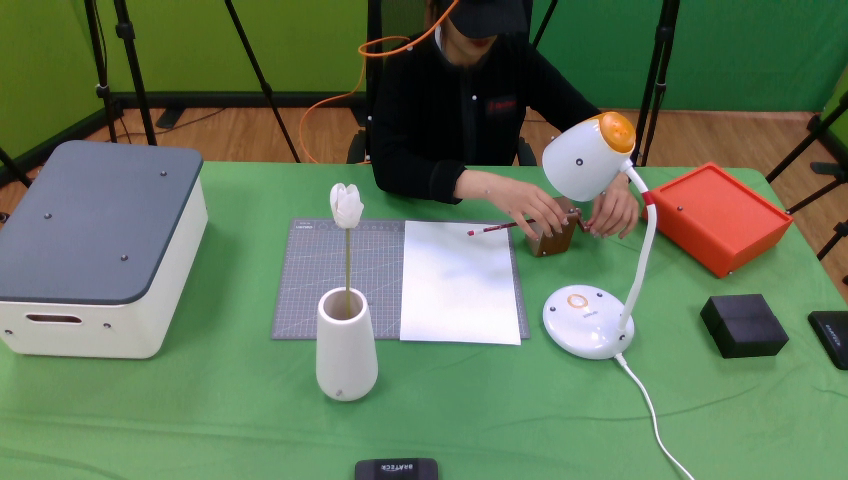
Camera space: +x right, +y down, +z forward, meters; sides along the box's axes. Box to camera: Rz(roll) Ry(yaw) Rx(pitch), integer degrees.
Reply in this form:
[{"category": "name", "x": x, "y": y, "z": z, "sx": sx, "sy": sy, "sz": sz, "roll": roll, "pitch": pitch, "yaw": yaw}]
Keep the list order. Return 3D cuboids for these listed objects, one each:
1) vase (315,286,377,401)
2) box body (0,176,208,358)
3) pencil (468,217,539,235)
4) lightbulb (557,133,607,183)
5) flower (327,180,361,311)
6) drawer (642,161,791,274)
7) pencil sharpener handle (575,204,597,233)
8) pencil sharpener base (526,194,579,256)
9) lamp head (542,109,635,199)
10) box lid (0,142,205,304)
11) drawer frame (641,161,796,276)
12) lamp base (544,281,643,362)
[{"category": "vase", "x": -0.119, "y": 0.159, "z": 0.911, "sx": 0.098, "sy": 0.201, "sz": 0.097, "roll": 2, "pitch": 47, "yaw": -2}, {"category": "box body", "x": -0.546, "y": 0.017, "z": 1.045, "sx": 0.254, "sy": 0.161, "sz": 0.361, "roll": 2, "pitch": 46, "yaw": -2}, {"category": "pencil", "x": 0.174, "y": -0.032, "z": 1.143, "sx": 0.194, "sy": 0.012, "sz": 0.012, "roll": -11, "pitch": 48, "yaw": -12}, {"category": "lightbulb", "x": 0.242, "y": -0.127, "z": 0.916, "sx": 0.059, "sy": 0.108, "sz": 0.059, "roll": 5, "pitch": 67, "yaw": -13}, {"category": "flower", "x": -0.110, "y": 0.086, "z": 0.867, "sx": 0.044, "sy": 0.363, "sz": 0.038, "roll": 22, "pitch": 33, "yaw": 35}, {"category": "drawer", "x": 0.596, "y": -0.051, "z": 1.246, "sx": 0.194, "sy": 0.073, "sz": 0.210, "roll": -24, "pitch": 53, "yaw": -25}, {"category": "pencil sharpener handle", "x": 0.306, "y": -0.044, "z": 1.167, "sx": 0.031, "sy": 0.036, "sz": 0.067, "roll": -11, "pitch": 62, "yaw": -14}, {"category": "pencil sharpener base", "x": 0.251, "y": -0.028, "z": 1.182, "sx": 0.077, "sy": 0.107, "sz": 0.061, "roll": -11, "pitch": 47, "yaw": -14}, {"category": "lamp head", "x": 0.253, "y": -0.131, "z": 0.893, "sx": 0.113, "sy": 0.123, "sz": 0.112, "roll": 10, "pitch": 66, "yaw": -24}, {"category": "box lid", "x": -0.534, "y": -0.044, "z": 0.995, "sx": 0.263, "sy": 0.015, "sz": 0.369, "roll": 3, "pitch": 45, "yaw": -3}, {"category": "drawer frame", "x": 0.599, "y": -0.051, "z": 1.244, "sx": 0.202, "sy": 0.083, "sz": 0.212, "roll": -24, "pitch": 53, "yaw": -25}, {"category": "lamp base", "x": 0.303, "y": 0.095, "z": 1.014, "sx": 0.161, "sy": 0.181, "sz": 0.178, "roll": -24, "pitch": 54, "yaw": -24}]
